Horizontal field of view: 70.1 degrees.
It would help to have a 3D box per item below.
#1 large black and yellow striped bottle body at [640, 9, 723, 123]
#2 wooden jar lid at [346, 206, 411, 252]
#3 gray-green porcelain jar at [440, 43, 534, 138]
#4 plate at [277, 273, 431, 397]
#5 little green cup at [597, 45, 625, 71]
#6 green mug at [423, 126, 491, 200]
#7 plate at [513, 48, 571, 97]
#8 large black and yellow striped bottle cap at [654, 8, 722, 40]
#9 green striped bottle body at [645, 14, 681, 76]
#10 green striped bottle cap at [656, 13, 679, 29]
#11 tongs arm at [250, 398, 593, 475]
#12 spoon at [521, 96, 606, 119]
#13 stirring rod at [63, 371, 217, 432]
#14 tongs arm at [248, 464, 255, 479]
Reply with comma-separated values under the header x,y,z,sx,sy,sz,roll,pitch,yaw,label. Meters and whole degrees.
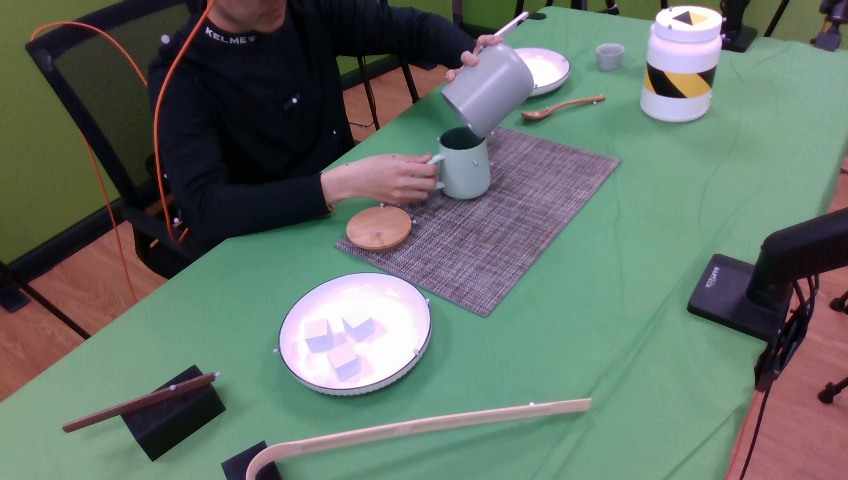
x,y,z,sx,sy,sz,roll,pitch,yaw,label
0.493,-0.334,1.161,0.131,0.185,0.130,-4,41,4,large black and yellow striped bottle body
-0.074,-0.017,0.996,0.108,0.021,0.108,-3,39,3,wooden jar lid
0.106,-0.245,0.980,0.126,0.107,0.105,-42,43,7,gray-green porcelain jar
-0.091,0.129,0.821,0.207,0.039,0.206,-4,40,4,plate
0.423,-0.413,1.375,0.061,0.039,0.061,-3,41,3,little green cup
0.055,-0.125,1.039,0.126,0.105,0.091,-25,44,-19,green mug
0.223,-0.371,1.357,0.209,0.038,0.208,-4,41,4,plate
0.483,-0.397,1.108,0.115,0.019,0.114,-3,41,3,large black and yellow striped bottle cap
0.520,-0.424,1.312,0.063,0.120,0.063,-4,41,4,green striped bottle body
0.515,-0.463,1.278,0.044,0.020,0.044,-6,42,6,green striped bottle cap
0.008,0.212,0.675,0.389,0.028,0.028,-5,46,-11,tongs arm
0.291,-0.277,1.249,0.194,0.022,0.041,-17,25,-11,spoon
-0.337,0.192,0.723,0.177,0.014,0.005,-18,42,-12,stirring rod
0.012,0.262,0.614,0.385,0.026,0.050,3,42,-2,tongs arm
